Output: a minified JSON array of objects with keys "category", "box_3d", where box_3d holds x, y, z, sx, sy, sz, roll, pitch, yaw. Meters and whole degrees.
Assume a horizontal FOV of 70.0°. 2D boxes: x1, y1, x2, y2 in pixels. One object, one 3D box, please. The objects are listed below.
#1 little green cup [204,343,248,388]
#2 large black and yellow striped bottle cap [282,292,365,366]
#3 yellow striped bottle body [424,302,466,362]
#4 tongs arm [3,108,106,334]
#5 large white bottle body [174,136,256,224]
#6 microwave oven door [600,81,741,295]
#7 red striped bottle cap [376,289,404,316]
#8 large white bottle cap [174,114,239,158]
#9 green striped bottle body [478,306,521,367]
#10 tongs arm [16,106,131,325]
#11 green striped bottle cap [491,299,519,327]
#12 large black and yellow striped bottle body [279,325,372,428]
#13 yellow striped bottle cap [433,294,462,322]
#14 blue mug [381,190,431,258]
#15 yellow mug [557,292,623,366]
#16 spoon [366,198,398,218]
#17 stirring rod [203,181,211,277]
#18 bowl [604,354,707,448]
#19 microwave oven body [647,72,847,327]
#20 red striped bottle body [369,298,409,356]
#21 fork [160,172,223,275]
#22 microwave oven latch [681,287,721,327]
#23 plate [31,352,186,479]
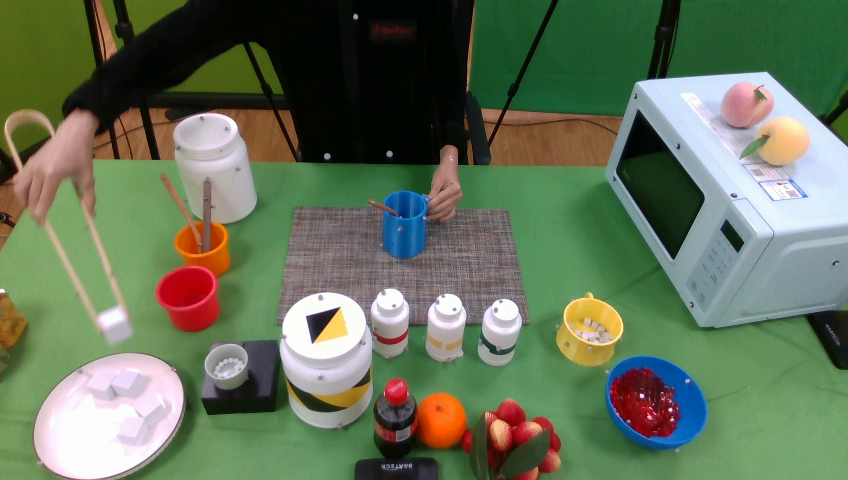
[{"category":"little green cup","box_3d":[-0.294,0.190,0.909,0.061,0.039,0.061,1,48,-1]},{"category":"large black and yellow striped bottle cap","box_3d":[-0.138,0.121,0.841,0.115,0.019,0.114,3,47,-3]},{"category":"yellow striped bottle body","box_3d":[0.035,0.143,0.995,0.063,0.121,0.062,3,46,-2]},{"category":"tongs arm","box_3d":[-0.529,-0.033,0.865,0.028,0.028,0.386,-26,73,-26]},{"category":"large white bottle body","box_3d":[-0.408,-0.137,1.183,0.131,0.185,0.130,2,46,-2]},{"category":"microwave oven door","box_3d":[0.454,-0.107,1.161,0.039,0.245,0.353,-6,47,-11]},{"category":"red striped bottle cap","box_3d":[-0.054,0.098,0.958,0.044,0.018,0.044,0,48,0]},{"category":"large white bottle cap","box_3d":[-0.402,-0.194,1.121,0.115,0.018,0.114,2,47,-2]},{"category":"green striped bottle body","box_3d":[0.124,0.151,0.995,0.063,0.120,0.063,1,46,-1]},{"category":"tongs arm","box_3d":[-0.511,-0.041,0.876,0.051,0.026,0.383,-19,70,-28]},{"category":"green striped bottle cap","box_3d":[0.128,0.115,0.958,0.044,0.020,0.044,0,45,0]},{"category":"large black and yellow striped bottle body","box_3d":[-0.143,0.181,0.900,0.131,0.185,0.130,2,46,-2]},{"category":"yellow striped bottle cap","box_3d":[0.037,0.107,0.958,0.044,0.019,0.044,2,45,-2]},{"category":"blue mug","box_3d":[-0.029,-0.038,1.170,0.082,0.106,0.116,37,54,27]},{"category":"yellow mug","box_3d":[0.285,0.145,1.051,0.100,0.064,0.130,7,45,4]},{"category":"spoon","box_3d":[-0.062,-0.047,1.116,0.041,0.195,0.021,36,88,26]},{"category":"stirring rod","box_3d":[-0.396,-0.020,1.107,0.014,0.006,0.176,-1,89,-2]},{"category":"bowl","box_3d":[0.346,0.261,0.937,0.151,0.077,0.150,2,46,-2]},{"category":"microwave oven body","box_3d":[0.607,-0.089,1.164,0.326,0.261,0.438,-7,46,-10]},{"category":"red striped bottle body","box_3d":[-0.058,0.134,0.997,0.063,0.120,0.062,4,47,-4]},{"category":"fork","box_3d":[-0.426,-0.030,1.103,0.028,0.018,0.207,-29,99,-20]},{"category":"microwave oven latch","box_3d":[0.494,0.119,1.087,0.030,0.029,0.078,-6,46,-9]},{"category":"plate","box_3d":[-0.459,0.262,0.898,0.209,0.038,0.208,2,46,-2]}]
